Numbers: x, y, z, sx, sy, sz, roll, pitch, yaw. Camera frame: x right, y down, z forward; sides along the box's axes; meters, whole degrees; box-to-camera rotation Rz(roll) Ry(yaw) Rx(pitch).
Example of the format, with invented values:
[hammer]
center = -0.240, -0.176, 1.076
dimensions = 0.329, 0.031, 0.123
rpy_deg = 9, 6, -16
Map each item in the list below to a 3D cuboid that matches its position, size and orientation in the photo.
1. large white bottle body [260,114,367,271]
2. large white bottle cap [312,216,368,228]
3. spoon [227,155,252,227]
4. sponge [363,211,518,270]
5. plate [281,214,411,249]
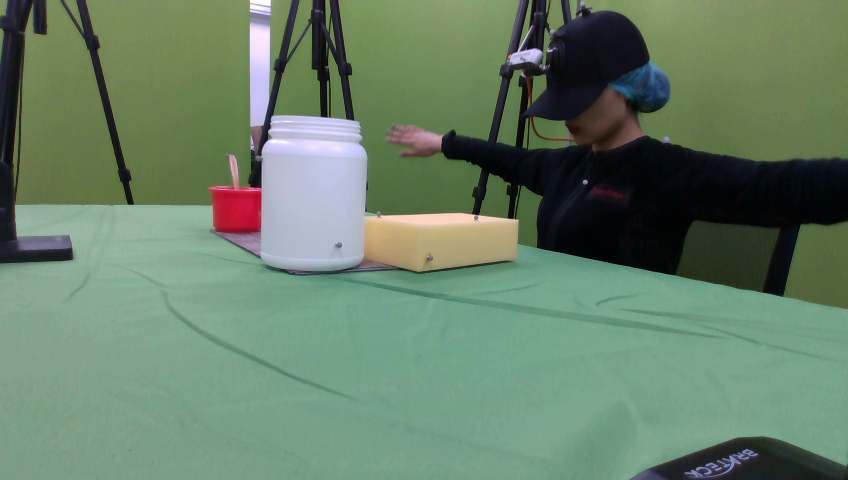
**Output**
[large white bottle body]
center = -0.139, -0.062, 0.763
dimensions = 0.131, 0.184, 0.130
rpy_deg = 3, 8, 0
[large white bottle cap]
center = -0.171, -0.038, 1.234
dimensions = 0.115, 0.018, 0.115
rpy_deg = 1, 5, 0
[spoon]
center = -0.343, -0.093, 1.109
dimensions = 0.042, 0.021, 0.193
rpy_deg = -1, 52, -22
[sponge]
center = 0.026, -0.004, 0.858
dimensions = 0.117, 0.061, 0.208
rpy_deg = 9, 10, 44
[plate]
center = -0.125, -0.014, 0.979
dimensions = 0.209, 0.038, 0.209
rpy_deg = 2, 7, 0
